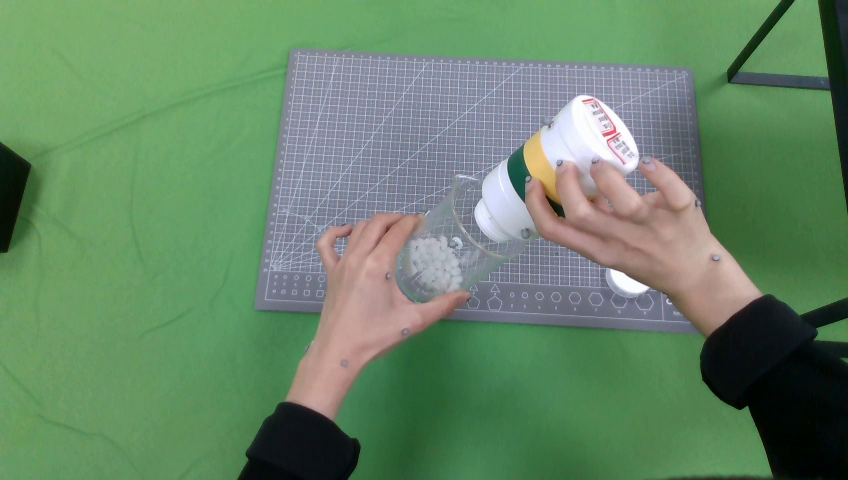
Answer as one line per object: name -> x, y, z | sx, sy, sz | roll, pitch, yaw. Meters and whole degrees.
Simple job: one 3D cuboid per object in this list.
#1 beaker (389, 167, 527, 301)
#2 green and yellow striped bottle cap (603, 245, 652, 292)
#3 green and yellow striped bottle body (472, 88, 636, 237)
beaker -> 0.022, -0.001, 0.500 | 0.074, 0.100, 0.083 | -26, 78, -46
green and yellow striped bottle cap -> 0.202, 0.028, 0.599 | 0.045, 0.020, 0.045 | 0, 70, 0
green and yellow striped bottle body -> 0.087, -0.048, 0.439 | 0.063, 0.120, 0.062 | 23, 48, -27
